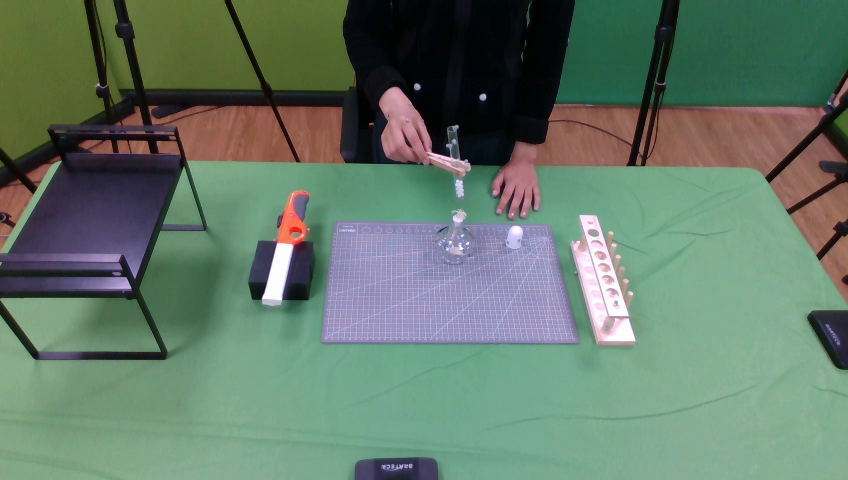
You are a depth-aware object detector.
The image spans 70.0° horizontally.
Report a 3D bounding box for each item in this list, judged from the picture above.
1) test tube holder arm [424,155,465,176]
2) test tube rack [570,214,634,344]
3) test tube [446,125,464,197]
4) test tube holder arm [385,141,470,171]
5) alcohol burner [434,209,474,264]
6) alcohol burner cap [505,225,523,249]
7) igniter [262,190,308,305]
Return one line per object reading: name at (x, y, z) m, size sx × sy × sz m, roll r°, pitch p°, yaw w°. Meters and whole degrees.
test tube holder arm at (0.035, -0.131, 1.044) m, size 0.087 × 0.015 × 0.010 m, roll 29°, pitch 59°, yaw 36°
test tube rack at (0.333, 0.067, 1.116) m, size 0.067 × 0.085 × 0.241 m, roll 1°, pitch 46°, yaw -3°
test tube at (0.053, -0.130, 1.030) m, size 0.017 × 0.151 × 0.017 m, roll -5°, pitch 46°, yaw 6°
test tube holder arm at (0.003, -0.149, 1.071) m, size 0.177 × 0.015 × 0.013 m, roll 21°, pitch 54°, yaw 31°
alcohol burner at (0.058, -0.011, 1.147) m, size 0.078 × 0.119 × 0.077 m, roll 3°, pitch 44°, yaw -3°
alcohol burner cap at (0.180, -0.009, 1.203) m, size 0.034 × 0.048 × 0.033 m, roll 2°, pitch 47°, yaw -2°
igniter at (-0.252, 0.004, 1.107) m, size 0.057 × 0.025 × 0.275 m, roll 7°, pitch 47°, yaw -6°
